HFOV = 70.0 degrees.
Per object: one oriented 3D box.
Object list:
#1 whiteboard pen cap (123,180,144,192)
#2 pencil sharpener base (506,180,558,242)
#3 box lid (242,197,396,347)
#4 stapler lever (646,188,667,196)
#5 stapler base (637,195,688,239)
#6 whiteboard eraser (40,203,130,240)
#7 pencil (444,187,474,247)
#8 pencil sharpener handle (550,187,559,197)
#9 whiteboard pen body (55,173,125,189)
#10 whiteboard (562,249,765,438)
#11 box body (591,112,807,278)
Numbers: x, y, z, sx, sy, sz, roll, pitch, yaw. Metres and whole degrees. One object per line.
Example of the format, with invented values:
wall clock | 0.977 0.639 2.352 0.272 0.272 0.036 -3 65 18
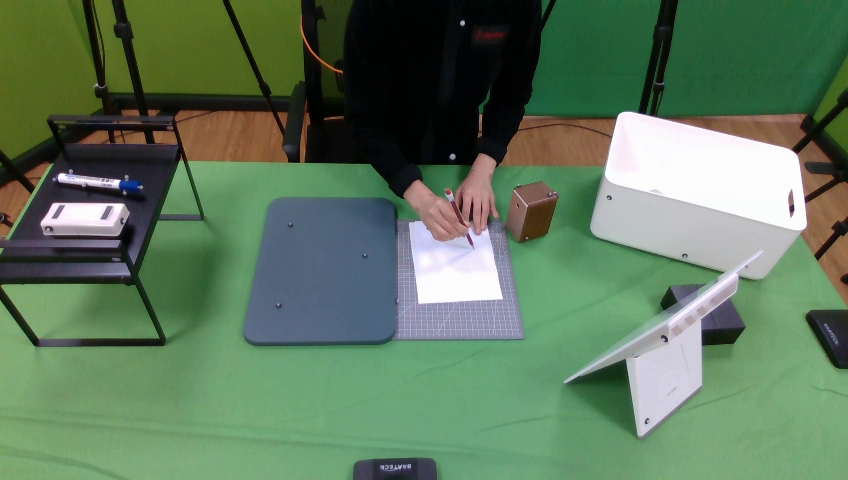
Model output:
whiteboard pen cap | -0.479 -0.089 0.993 0.033 0.018 0.018 7 46 14
pencil sharpener base | 0.216 -0.058 1.211 0.077 0.107 0.061 -16 49 -19
box lid | -0.186 0.046 1.147 0.263 0.015 0.369 0 46 -3
stapler lever | 0.507 -0.075 1.262 0.027 0.040 0.117 -14 46 -19
stapler base | 0.507 -0.055 1.280 0.041 0.024 0.129 -14 47 -19
whiteboard eraser | -0.513 -0.028 0.922 0.113 0.042 0.055 1 48 -3
pencil | 0.068 -0.037 1.123 0.012 0.195 0.012 -10 55 15
pencil sharpener handle | 0.261 -0.084 1.221 0.031 0.068 0.036 -16 65 -19
whiteboard pen body | -0.539 -0.095 0.998 0.141 0.017 0.017 6 46 6
whiteboard | 0.386 0.175 0.905 0.217 0.306 0.143 -26 72 -26
box body | 0.540 -0.092 1.229 0.363 0.161 0.253 16 47 11
